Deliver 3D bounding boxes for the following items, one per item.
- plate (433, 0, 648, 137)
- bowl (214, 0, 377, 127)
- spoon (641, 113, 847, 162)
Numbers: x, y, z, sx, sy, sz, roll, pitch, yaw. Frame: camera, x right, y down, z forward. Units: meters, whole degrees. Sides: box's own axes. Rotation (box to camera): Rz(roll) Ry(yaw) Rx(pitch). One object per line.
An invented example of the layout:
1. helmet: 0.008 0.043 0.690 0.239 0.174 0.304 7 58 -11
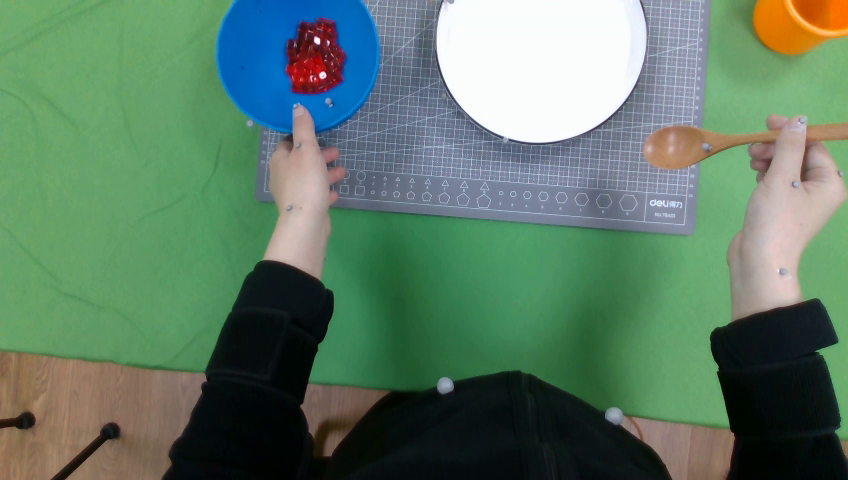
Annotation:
1. plate: 0.113 -0.204 0.603 0.209 0.038 0.209 0 89 2
2. bowl: -0.116 -0.178 0.586 0.151 0.077 0.151 0 90 1
3. spoon: 0.265 -0.086 0.481 0.022 0.192 0.041 14 83 -38
